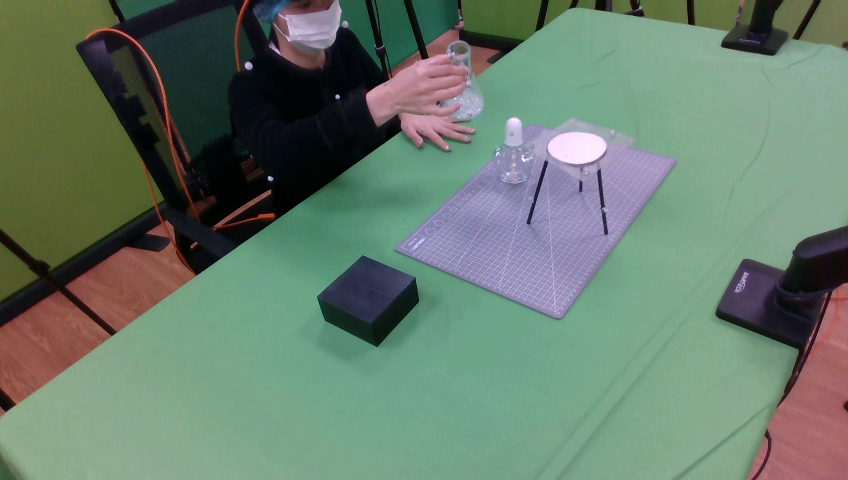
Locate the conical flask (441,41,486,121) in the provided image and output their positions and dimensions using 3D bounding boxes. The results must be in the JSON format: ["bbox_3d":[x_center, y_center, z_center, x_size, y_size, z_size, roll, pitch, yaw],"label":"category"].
[{"bbox_3d":[0.058,-0.255,0.962,0.075,0.122,0.075,-3,57,6],"label":"conical flask"}]

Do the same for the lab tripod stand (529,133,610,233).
[{"bbox_3d":[0.236,-0.089,0.953,0.148,0.132,0.147,-5,42,5],"label":"lab tripod stand"}]

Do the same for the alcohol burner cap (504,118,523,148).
[{"bbox_3d":[0.154,-0.186,1.042,0.034,0.048,0.033,-4,33,3],"label":"alcohol burner cap"}]

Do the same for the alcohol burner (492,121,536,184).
[{"bbox_3d":[0.159,-0.158,1.064,0.078,0.119,0.077,-3,41,3],"label":"alcohol burner"}]

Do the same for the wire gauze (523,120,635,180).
[{"bbox_3d":[0.233,-0.143,0.913,0.122,0.011,0.124,-32,45,-25],"label":"wire gauze"}]
